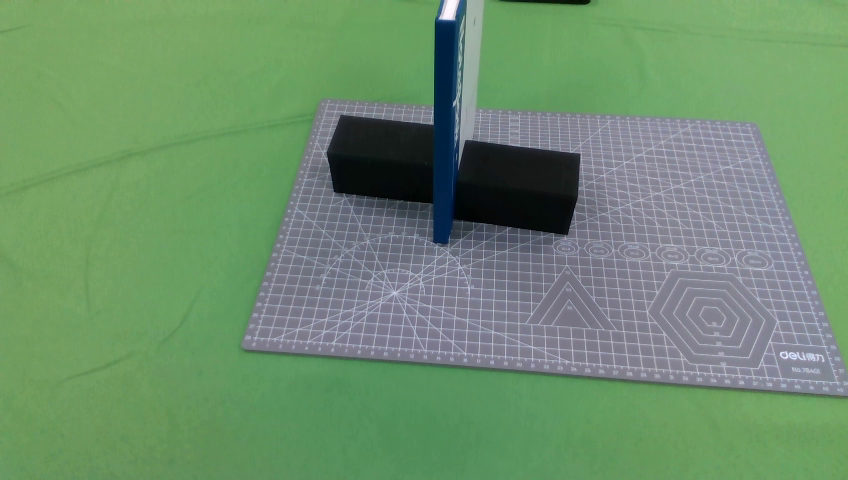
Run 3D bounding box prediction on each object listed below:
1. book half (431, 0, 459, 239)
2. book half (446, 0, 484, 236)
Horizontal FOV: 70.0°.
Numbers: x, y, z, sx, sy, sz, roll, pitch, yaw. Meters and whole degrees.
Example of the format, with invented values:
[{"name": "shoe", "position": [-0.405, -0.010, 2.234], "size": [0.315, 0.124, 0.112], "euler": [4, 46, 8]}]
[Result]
[{"name": "book half", "position": [0.025, -0.121, 0.481], "size": [0.016, 0.212, 0.147], "euler": [8, 52, 7]}, {"name": "book half", "position": [0.033, -0.122, 0.482], "size": [0.007, 0.212, 0.142], "euler": [9, 52, 8]}]
